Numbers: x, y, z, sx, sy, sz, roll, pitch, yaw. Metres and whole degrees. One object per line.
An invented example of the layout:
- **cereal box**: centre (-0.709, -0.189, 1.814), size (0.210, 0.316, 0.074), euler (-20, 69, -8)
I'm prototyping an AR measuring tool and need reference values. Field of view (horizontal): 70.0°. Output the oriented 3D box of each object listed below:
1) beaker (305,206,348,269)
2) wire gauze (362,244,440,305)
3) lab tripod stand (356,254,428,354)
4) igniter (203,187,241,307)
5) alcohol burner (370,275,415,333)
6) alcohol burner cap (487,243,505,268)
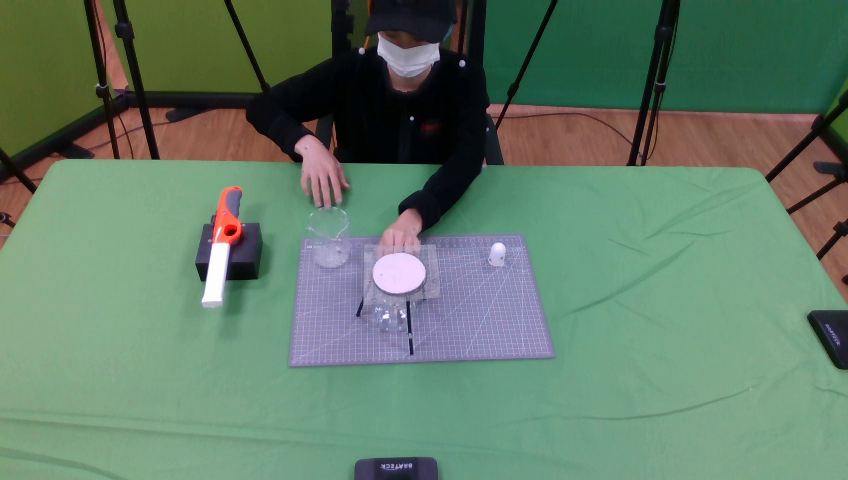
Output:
- **beaker**: centre (-0.177, 0.001, 1.126), size (0.074, 0.101, 0.083), euler (-13, 49, -16)
- **wire gauze**: centre (-0.038, 0.051, 0.971), size (0.121, 0.011, 0.124), euler (-1, 46, -4)
- **lab tripod stand**: centre (-0.046, 0.100, 1.016), size (0.148, 0.132, 0.147), euler (1, 47, -1)
- **igniter**: centre (-0.365, 0.003, 1.098), size (0.057, 0.025, 0.274), euler (-1, 49, -7)
- **alcohol burner**: centre (-0.054, 0.103, 1.026), size (0.078, 0.120, 0.077), euler (1, 45, -1)
- **alcohol burner cap**: centre (0.141, 0.027, 1.166), size (0.034, 0.048, 0.033), euler (2, 45, -2)
